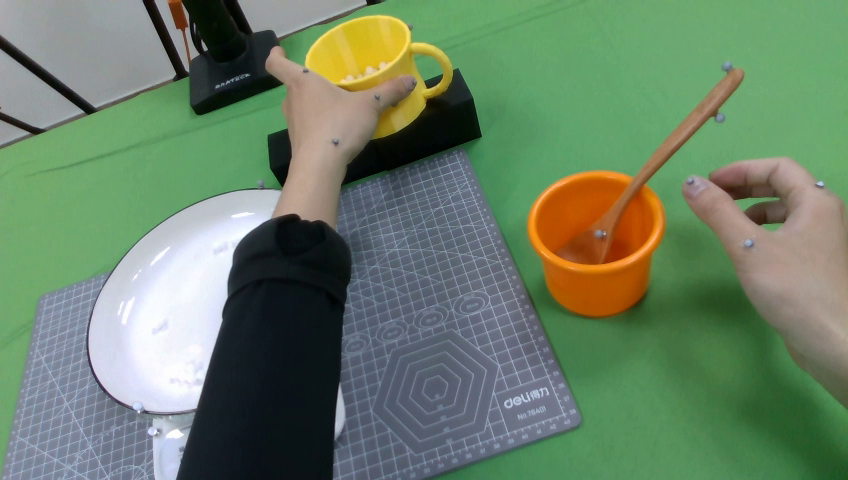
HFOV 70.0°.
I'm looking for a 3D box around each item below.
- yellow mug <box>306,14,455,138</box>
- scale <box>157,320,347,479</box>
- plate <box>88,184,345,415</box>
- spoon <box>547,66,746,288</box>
[{"bbox_3d":[-0.036,-0.155,0.562,0.130,0.064,0.099,-2,54,14],"label":"yellow mug"},{"bbox_3d":[-0.146,0.085,0.491,0.148,0.032,0.198,-20,50,2],"label":"scale"},{"bbox_3d":[-0.160,0.044,0.484,0.209,0.038,0.207,-7,52,10],"label":"plate"},{"bbox_3d":[0.150,-0.037,0.423,0.022,0.194,0.041,11,38,-31],"label":"spoon"}]
